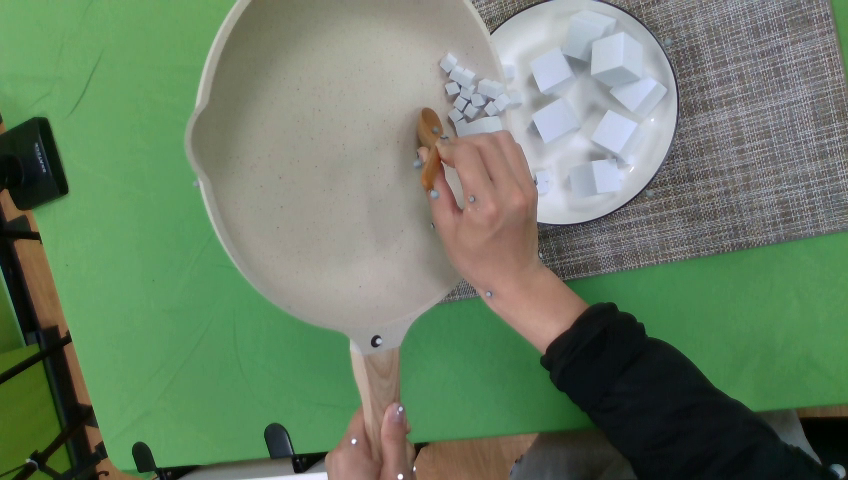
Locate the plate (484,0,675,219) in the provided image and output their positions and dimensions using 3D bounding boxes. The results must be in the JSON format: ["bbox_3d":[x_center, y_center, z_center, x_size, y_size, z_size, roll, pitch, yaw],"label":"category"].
[{"bbox_3d":[0.129,-0.125,0.578,0.206,0.039,0.208,5,102,23],"label":"plate"}]

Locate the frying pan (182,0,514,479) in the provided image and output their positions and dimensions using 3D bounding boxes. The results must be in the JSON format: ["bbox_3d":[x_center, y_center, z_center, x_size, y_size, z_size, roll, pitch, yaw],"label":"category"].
[{"bbox_3d":[-0.044,0.028,0.494,0.102,0.308,0.488,2,96,49],"label":"frying pan"}]

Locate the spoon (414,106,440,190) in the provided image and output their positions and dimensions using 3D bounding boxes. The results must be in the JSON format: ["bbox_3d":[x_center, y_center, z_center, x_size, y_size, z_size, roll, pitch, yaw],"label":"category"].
[{"bbox_3d":[0.003,-0.076,0.483,0.021,0.192,0.042,-22,110,7],"label":"spoon"}]
